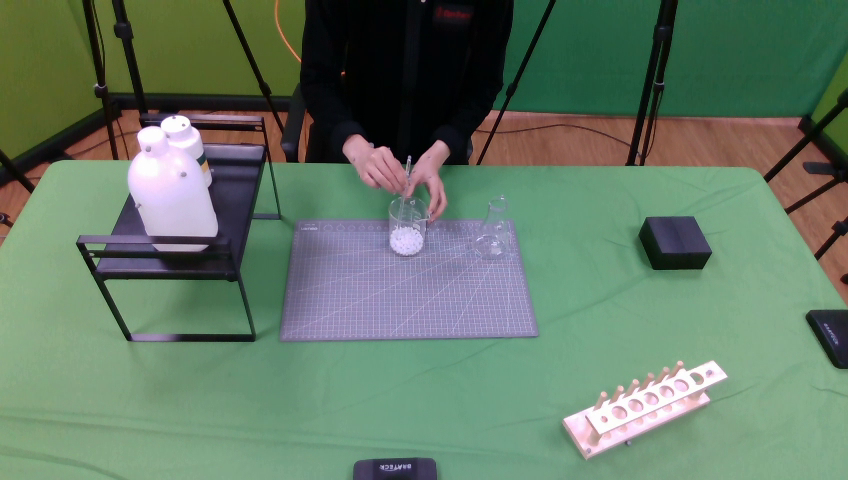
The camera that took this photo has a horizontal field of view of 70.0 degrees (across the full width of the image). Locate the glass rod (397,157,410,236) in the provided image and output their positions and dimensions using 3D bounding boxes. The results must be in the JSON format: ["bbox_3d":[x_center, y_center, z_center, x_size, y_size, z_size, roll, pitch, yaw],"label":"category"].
[{"bbox_3d":[-0.038,-0.075,1.115,0.008,0.200,0.008,5,48,-5],"label":"glass rod"}]

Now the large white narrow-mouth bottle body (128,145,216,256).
[{"bbox_3d":[-0.366,-0.073,0.872,0.102,0.195,0.101,3,47,-3],"label":"large white narrow-mouth bottle body"}]

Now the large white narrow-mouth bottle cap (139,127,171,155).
[{"bbox_3d":[-0.358,-0.132,0.807,0.038,0.024,0.037,3,47,-3],"label":"large white narrow-mouth bottle cap"}]

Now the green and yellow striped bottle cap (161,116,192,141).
[{"bbox_3d":[-0.387,-0.174,0.946,0.045,0.020,0.045,3,44,-3],"label":"green and yellow striped bottle cap"}]

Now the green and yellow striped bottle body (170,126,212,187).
[{"bbox_3d":[-0.389,-0.139,0.984,0.063,0.120,0.063,2,46,-2],"label":"green and yellow striped bottle body"}]

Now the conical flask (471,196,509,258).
[{"bbox_3d":[0.133,-0.028,1.160,0.075,0.122,0.075,2,46,-2],"label":"conical flask"}]

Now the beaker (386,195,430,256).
[{"bbox_3d":[-0.031,-0.024,1.161,0.084,0.101,0.073,18,48,12],"label":"beaker"}]

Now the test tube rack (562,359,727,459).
[{"bbox_3d":[0.341,0.247,0.940,0.243,0.085,0.066,-16,49,-18],"label":"test tube rack"}]
